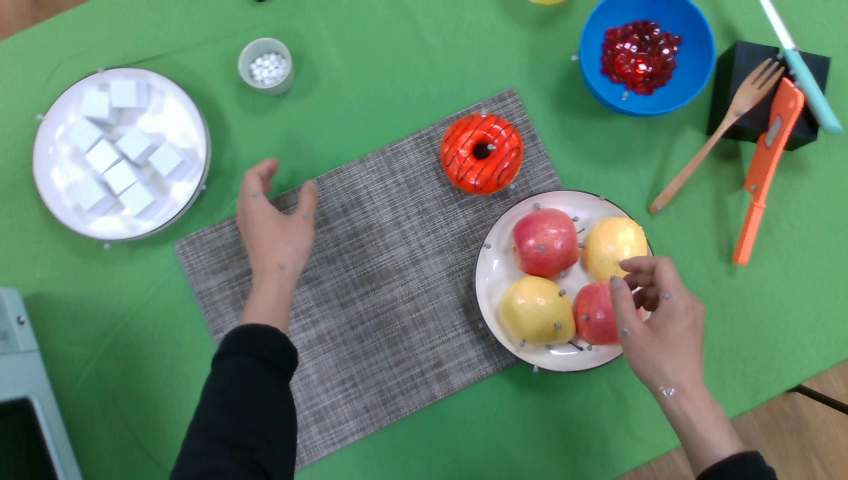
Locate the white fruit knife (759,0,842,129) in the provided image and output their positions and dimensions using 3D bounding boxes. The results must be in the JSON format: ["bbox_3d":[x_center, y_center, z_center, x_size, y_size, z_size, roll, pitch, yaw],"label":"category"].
[{"bbox_3d":[0.414,-0.217,0.686,0.027,0.016,0.206,-20,82,-30],"label":"white fruit knife"}]

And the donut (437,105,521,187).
[{"bbox_3d":[0.065,-0.110,0.711,0.099,0.048,0.099,0,86,3],"label":"donut"}]

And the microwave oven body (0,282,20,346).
[{"bbox_3d":[-0.544,0.289,0.572,0.326,0.260,0.440,-22,85,-2],"label":"microwave oven body"}]

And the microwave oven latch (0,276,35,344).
[{"bbox_3d":[-0.472,0.081,0.687,0.030,0.029,0.079,-21,85,-2],"label":"microwave oven latch"}]

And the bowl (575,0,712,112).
[{"bbox_3d":[0.244,-0.213,0.706,0.151,0.077,0.151,0,85,1],"label":"bowl"}]

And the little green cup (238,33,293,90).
[{"bbox_3d":[-0.188,-0.212,0.730,0.061,0.039,0.061,0,84,1],"label":"little green cup"}]

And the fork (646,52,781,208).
[{"bbox_3d":[0.324,-0.120,0.691,0.028,0.018,0.208,34,106,-4],"label":"fork"}]

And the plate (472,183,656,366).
[{"bbox_3d":[0.159,0.039,0.699,0.209,0.038,0.208,0,84,1],"label":"plate"}]

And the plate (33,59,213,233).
[{"bbox_3d":[-0.352,-0.109,0.723,0.208,0.039,0.207,0,85,1],"label":"plate"}]

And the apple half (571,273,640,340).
[{"bbox_3d":[0.198,0.076,0.677,0.081,0.033,0.081,1,92,24],"label":"apple half"}]

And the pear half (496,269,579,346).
[{"bbox_3d":[0.137,0.083,0.681,0.110,0.056,0.076,38,90,-2],"label":"pear half"}]

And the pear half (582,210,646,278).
[{"bbox_3d":[0.213,0.010,0.687,0.070,0.031,0.088,6,97,27],"label":"pear half"}]

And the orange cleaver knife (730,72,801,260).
[{"bbox_3d":[0.382,-0.082,0.689,0.012,0.077,0.212,11,110,7],"label":"orange cleaver knife"}]

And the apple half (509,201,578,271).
[{"bbox_3d":[0.137,-0.004,0.686,0.074,0.053,0.080,-8,88,1],"label":"apple half"}]

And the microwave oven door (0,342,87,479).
[{"bbox_3d":[-0.393,0.273,0.567,0.039,0.244,0.355,-23,84,-2],"label":"microwave oven door"}]
